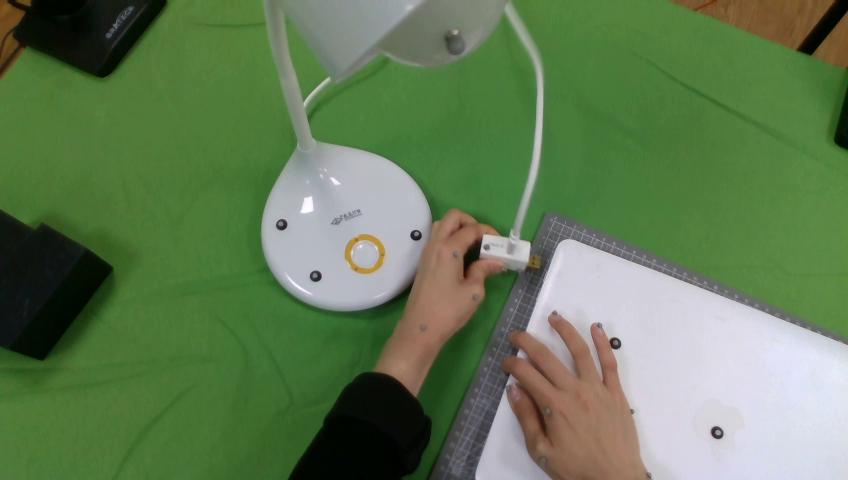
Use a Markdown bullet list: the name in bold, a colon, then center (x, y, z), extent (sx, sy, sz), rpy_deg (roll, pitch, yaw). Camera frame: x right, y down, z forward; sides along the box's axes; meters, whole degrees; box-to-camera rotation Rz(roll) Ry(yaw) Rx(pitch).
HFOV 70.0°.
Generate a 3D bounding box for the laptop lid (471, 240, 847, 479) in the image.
- **laptop lid**: center (0.240, 0.161, 0.508), extent (0.356, 0.013, 0.240), rpy_deg (23, 73, 7)

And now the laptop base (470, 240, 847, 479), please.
- **laptop base**: center (0.241, 0.163, 0.518), extent (0.354, 0.023, 0.234), rpy_deg (21, 74, 6)

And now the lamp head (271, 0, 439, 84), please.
- **lamp head**: center (-0.028, -0.134, 0.210), extent (0.112, 0.112, 0.123), rpy_deg (-44, 100, -16)

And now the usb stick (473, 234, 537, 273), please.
- **usb stick**: center (0.077, 0.014, 0.556), extent (0.059, 0.027, 0.021), rpy_deg (14, 62, -4)

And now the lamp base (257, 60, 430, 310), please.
- **lamp base**: center (-0.081, -0.049, 0.499), extent (0.160, 0.181, 0.178), rpy_deg (-34, 71, -14)
